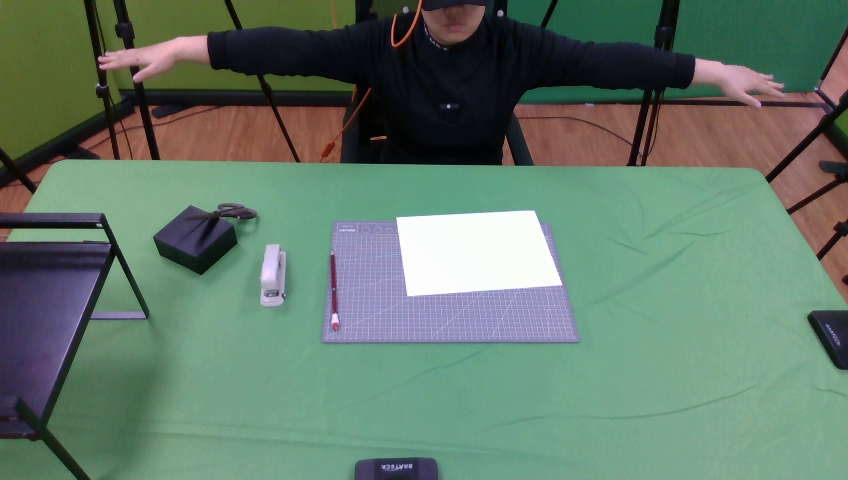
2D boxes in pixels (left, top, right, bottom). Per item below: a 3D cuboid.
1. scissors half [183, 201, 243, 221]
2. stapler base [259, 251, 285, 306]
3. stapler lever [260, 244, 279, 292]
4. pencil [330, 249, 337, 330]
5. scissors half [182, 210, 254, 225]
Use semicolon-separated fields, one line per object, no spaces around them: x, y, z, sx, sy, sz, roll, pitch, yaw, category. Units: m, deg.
-0.405;-0.054;1.163;0.040;0.013;0.175;30;18;7;scissors half
-0.279;0.064;1.113;0.041;0.024;0.129;-2;44;-9;stapler base
-0.279;0.045;1.096;0.027;0.040;0.117;-2;44;-9;stapler lever
-0.167;0.085;1.106;0.012;0.012;0.192;-3;45;-7;pencil
-0.390;-0.042;1.158;0.040;0.013;0.175;41;22;21;scissors half
